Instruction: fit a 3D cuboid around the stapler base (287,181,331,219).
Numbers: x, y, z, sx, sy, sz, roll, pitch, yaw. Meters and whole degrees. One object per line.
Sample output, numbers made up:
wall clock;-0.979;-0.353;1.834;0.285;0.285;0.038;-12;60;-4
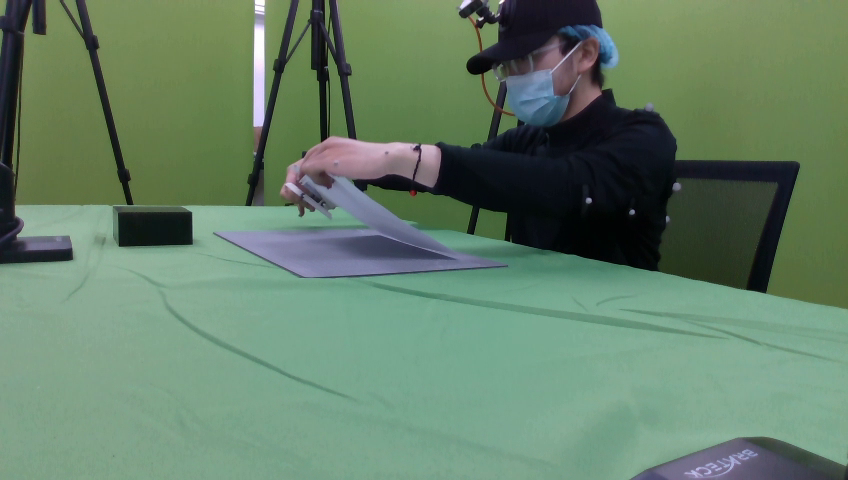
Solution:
stapler base;-0.217;-0.083;1.172;0.041;0.024;0.131;43;-2;30

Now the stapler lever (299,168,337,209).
stapler lever;-0.201;-0.101;1.174;0.026;0.040;0.118;43;-1;30
